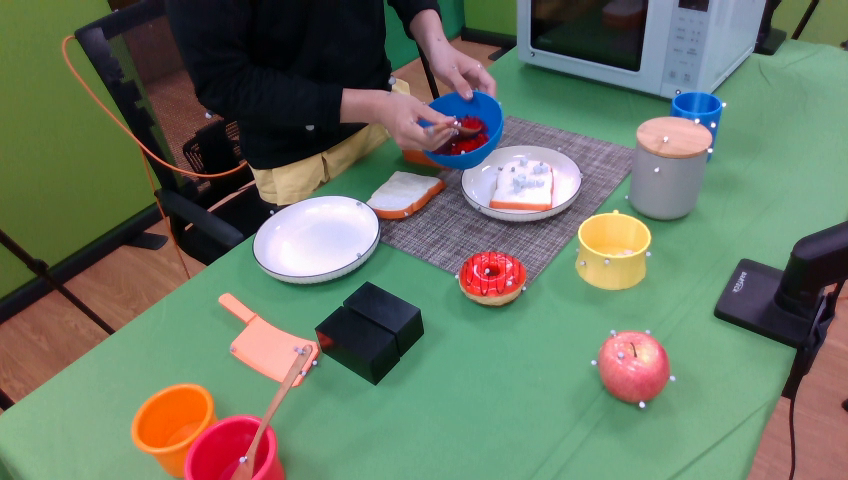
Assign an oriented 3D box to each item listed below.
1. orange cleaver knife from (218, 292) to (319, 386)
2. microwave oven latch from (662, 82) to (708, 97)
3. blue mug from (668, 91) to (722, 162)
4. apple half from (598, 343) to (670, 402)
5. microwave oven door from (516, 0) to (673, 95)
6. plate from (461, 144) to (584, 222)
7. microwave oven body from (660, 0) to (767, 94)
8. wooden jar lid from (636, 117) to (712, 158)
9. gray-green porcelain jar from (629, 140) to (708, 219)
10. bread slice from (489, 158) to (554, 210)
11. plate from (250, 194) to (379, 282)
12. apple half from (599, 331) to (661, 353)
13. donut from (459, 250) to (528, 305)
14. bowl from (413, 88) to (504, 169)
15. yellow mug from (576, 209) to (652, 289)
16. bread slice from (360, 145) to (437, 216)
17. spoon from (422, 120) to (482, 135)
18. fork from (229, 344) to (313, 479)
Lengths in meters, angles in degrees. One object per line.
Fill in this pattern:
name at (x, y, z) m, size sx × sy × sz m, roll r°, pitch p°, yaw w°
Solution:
orange cleaver knife at (-0.234, 0.136, 0.850) m, size 0.209 × 0.012 × 0.077 m, roll 25°, pitch 56°, yaw 30°
microwave oven latch at (0.518, -0.298, 1.203) m, size 0.078 × 0.029 × 0.030 m, roll 28°, pitch 53°, yaw 35°
blue mug at (0.474, -0.207, 1.079) m, size 0.082 × 0.106 × 0.116 m, roll 4°, pitch 42°, yaw 13°
apple half at (0.247, 0.161, 0.710) m, size 0.081 × 0.075 × 0.053 m, roll 2°, pitch 47°, yaw 5°
microwave oven door at (0.344, -0.458, 1.257) m, size 0.353 × 0.245 × 0.039 m, roll 26°, pitch 52°, yaw 33°
plate at (0.167, -0.095, 1.040) m, size 0.207 × 0.039 × 0.206 m, roll -4°, pitch 41°, yaw 4°
microwave oven body at (0.474, -0.517, 1.313) m, size 0.438 × 0.261 × 0.327 m, roll 26°, pitch 51°, yaw 34°
wooden jar lid at (0.377, -0.151, 0.917) m, size 0.108 × 0.021 × 0.108 m, roll -2°, pitch 42°, yaw 2°
gray-green porcelain jar at (0.383, -0.105, 0.958) m, size 0.106 × 0.127 × 0.105 m, roll -4°, pitch 41°, yaw 4°
bread slice at (0.173, -0.099, 1.048) m, size 0.104 × 0.019 × 0.131 m, roll 4°, pitch 44°, yaw 12°
plate at (-0.174, 0.000, 0.984) m, size 0.209 × 0.038 × 0.208 m, roll -3°, pitch 40°, yaw 3°
apple half at (0.249, 0.134, 0.738) m, size 0.081 × 0.081 × 0.032 m, roll -1°, pitch 46°, yaw 7°
donut at (0.100, 0.053, 0.872) m, size 0.099 × 0.048 × 0.098 m, roll -4°, pitch 40°, yaw 4°
bowl at (0.064, -0.172, 1.009) m, size 0.151 × 0.077 × 0.150 m, roll -8°, pitch 55°, yaw 12°
yellow mug at (0.279, 0.004, 0.893) m, size 0.099 × 0.064 × 0.130 m, roll 5°, pitch 42°, yaw 14°
bread slice at (-0.053, -0.103, 1.046) m, size 0.106 × 0.018 × 0.134 m, roll 19°, pitch 67°, yaw 23°
spoon at (0.042, -0.179, 0.947) m, size 0.041 × 0.021 × 0.195 m, roll 9°, pitch 9°, yaw 26°
fork at (-0.173, 0.205, 0.662) m, size 0.028 × 0.019 × 0.207 m, roll 29°, pitch 94°, yaw 35°
